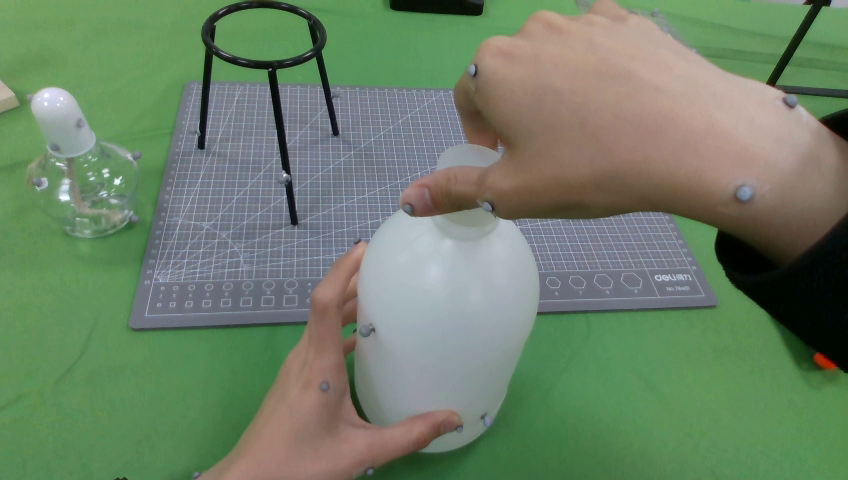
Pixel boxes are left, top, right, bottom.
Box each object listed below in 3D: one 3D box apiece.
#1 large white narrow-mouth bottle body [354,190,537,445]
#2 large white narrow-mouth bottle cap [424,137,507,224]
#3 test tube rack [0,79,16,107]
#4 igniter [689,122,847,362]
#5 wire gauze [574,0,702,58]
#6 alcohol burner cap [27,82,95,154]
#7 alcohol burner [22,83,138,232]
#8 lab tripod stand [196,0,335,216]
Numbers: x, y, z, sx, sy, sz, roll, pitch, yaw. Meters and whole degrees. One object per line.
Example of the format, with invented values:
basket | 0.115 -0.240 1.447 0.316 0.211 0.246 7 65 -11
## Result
large white narrow-mouth bottle body | 0.010 0.033 0.346 0.102 0.196 0.101 4 48 -4
large white narrow-mouth bottle cap | 0.019 -0.027 0.279 0.038 0.024 0.037 4 48 -4
test tube rack | -0.475 -0.114 0.473 0.066 0.086 0.242 37 53 22
igniter | 0.303 -0.012 0.544 0.057 0.025 0.273 8 48 -16
wire gauze | 0.235 -0.240 0.684 0.122 0.011 0.123 1 49 -10
alcohol burner cap | -0.251 -0.086 0.416 0.034 0.048 0.033 3 55 -4
alcohol burner | -0.255 -0.063 0.444 0.078 0.120 0.077 6 46 -5
lab tripod stand | -0.124 -0.114 0.492 0.149 0.132 0.147 6 49 -6
